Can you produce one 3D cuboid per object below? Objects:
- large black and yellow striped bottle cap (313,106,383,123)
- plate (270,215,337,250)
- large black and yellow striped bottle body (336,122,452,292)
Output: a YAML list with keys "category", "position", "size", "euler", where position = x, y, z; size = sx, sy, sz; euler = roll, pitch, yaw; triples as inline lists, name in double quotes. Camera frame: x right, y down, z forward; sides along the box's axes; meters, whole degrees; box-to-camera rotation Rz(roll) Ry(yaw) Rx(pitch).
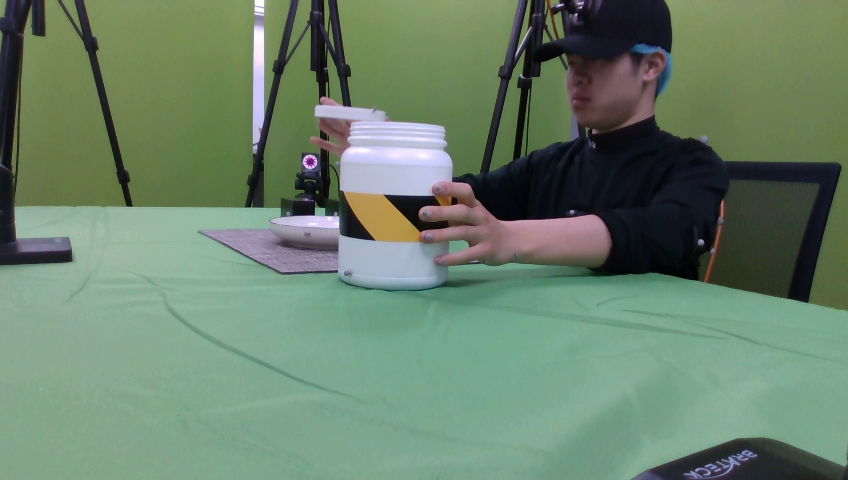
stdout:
- category: "large black and yellow striped bottle cap"
  position: [-0.125, -0.207, 1.000]
  size: [0.115, 0.019, 0.115]
  euler: [5, 9, -1]
- category: "plate"
  position: [-0.146, -0.013, 0.991]
  size: [0.208, 0.039, 0.207]
  euler: [2, 7, 0]
- category: "large black and yellow striped bottle body"
  position: [-0.035, -0.041, 0.703]
  size: [0.131, 0.184, 0.130]
  euler: [3, 7, 0]
